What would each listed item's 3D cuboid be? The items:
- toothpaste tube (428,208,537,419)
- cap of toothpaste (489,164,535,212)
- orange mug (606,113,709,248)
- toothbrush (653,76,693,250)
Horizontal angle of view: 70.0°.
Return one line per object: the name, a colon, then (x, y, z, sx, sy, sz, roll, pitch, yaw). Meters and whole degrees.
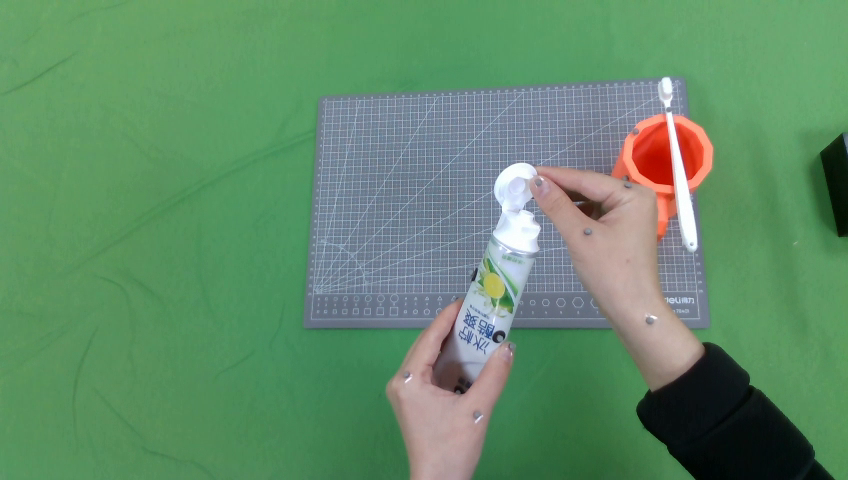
toothpaste tube: (0.044, 0.052, 0.446, 0.054, 0.035, 0.166, 31, 114, 34)
cap of toothpaste: (0.064, -0.036, 0.427, 0.037, 0.038, 0.011, -33, 40, -2)
orange mug: (0.243, -0.059, 0.643, 0.083, 0.101, 0.125, 7, 71, 10)
toothbrush: (0.245, -0.079, 0.593, 0.014, 0.017, 0.181, -4, 75, 4)
